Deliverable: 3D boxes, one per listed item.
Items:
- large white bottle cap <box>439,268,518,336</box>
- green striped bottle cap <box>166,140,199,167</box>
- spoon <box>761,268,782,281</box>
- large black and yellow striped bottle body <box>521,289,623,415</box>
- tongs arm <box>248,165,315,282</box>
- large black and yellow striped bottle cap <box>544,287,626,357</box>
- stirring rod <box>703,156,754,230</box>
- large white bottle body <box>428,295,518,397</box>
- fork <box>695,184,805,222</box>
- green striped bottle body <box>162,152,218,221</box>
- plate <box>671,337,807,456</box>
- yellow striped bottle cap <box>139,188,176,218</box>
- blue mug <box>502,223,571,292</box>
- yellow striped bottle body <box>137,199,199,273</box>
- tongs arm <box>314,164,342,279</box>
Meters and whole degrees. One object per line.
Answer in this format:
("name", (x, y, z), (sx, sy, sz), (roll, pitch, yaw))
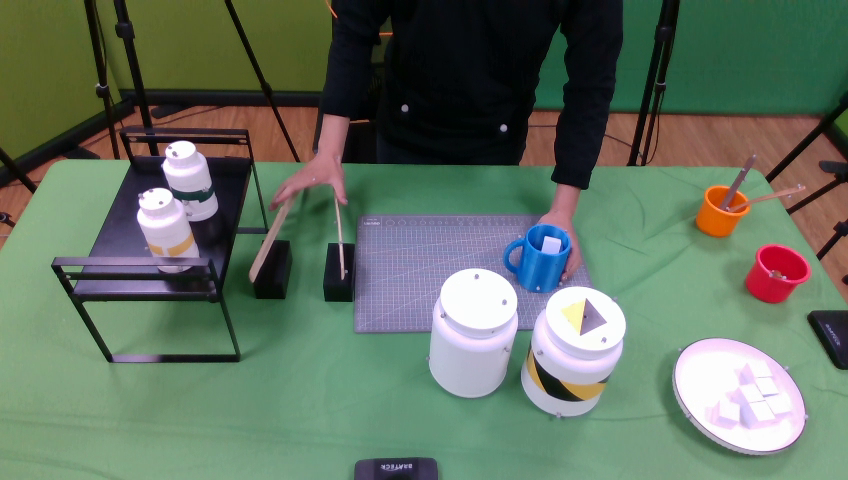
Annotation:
("large white bottle cap", (0.080, 0.089, 0.888), (0.115, 0.018, 0.114), (2, 47, -2))
("green striped bottle cap", (-0.360, -0.128, 0.902), (0.044, 0.020, 0.044), (2, 47, -2))
("spoon", (0.638, 0.060, 1.105), (0.041, 0.021, 0.194), (38, 11, 24))
("large black and yellow striped bottle body", (0.228, 0.173, 0.938), (0.131, 0.185, 0.130), (2, 47, -2))
("tongs arm", (-0.269, -0.047, 1.166), (0.028, 0.028, 0.385), (-1, 34, 7))
("large black and yellow striped bottle cap", (0.232, 0.116, 0.876), (0.115, 0.019, 0.114), (2, 46, -1))
("stirring rod", (0.631, -0.098, 1.258), (0.014, 0.006, 0.176), (33, 95, 29))
("large white bottle body", (0.076, 0.147, 0.950), (0.131, 0.185, 0.130), (2, 46, -2))
("fork", (0.657, -0.075, 1.230), (0.207, 0.019, 0.028), (-23, 34, 37))
("green striped bottle body", (-0.363, -0.092, 0.939), (0.063, 0.120, 0.063), (2, 46, -2))
("plate", (0.503, 0.254, 0.984), (0.208, 0.039, 0.206), (2, 46, -2))
("yellow striped bottle cap", (-0.363, -0.051, 0.826), (0.044, 0.019, 0.044), (1, 47, -1))
("blue mug", (0.202, 0.031, 1.121), (0.116, 0.106, 0.082), (5, 47, 1))
("yellow striped bottle body", (-0.366, -0.014, 0.864), (0.063, 0.121, 0.062), (2, 46, -2))
("tongs arm", (-0.188, -0.049, 1.170), (0.051, 0.026, 0.382), (-5, 35, -6))
